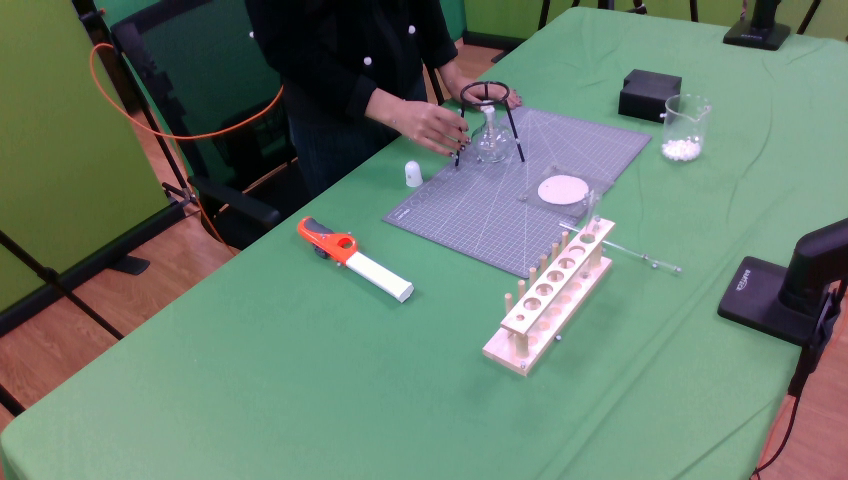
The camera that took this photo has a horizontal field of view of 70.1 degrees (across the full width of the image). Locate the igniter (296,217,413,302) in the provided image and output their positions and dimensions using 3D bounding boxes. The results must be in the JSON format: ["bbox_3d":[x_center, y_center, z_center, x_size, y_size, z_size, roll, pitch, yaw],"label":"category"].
[{"bbox_3d":[-0.121,0.025,0.970,0.274,0.025,0.057,29,63,37],"label":"igniter"}]

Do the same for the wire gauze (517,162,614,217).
[{"bbox_3d":[0.245,-0.088,1.046,0.120,0.011,0.125,25,50,32],"label":"wire gauze"}]

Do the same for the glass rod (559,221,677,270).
[{"bbox_3d":[0.292,0.007,0.927,0.198,0.008,0.008,26,52,36],"label":"glass rod"}]

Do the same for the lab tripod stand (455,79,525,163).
[{"bbox_3d":[0.121,-0.220,1.126,0.148,0.132,0.147,-4,40,4],"label":"lab tripod stand"}]

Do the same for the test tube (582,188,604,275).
[{"bbox_3d":[0.229,-0.007,0.821,0.017,0.151,0.017,-3,42,3],"label":"test tube"}]

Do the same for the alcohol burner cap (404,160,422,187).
[{"bbox_3d":[-0.022,-0.125,1.118,0.034,0.048,0.033,-4,40,4],"label":"alcohol burner cap"}]

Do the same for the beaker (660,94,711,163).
[{"bbox_3d":[0.457,-0.192,1.063,0.074,0.101,0.083,-7,41,4],"label":"beaker"}]

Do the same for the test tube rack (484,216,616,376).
[{"bbox_3d":[0.174,0.064,0.823,0.066,0.085,0.243,23,49,33],"label":"test tube rack"}]

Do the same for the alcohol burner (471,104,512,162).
[{"bbox_3d":[0.125,-0.207,1.126,0.078,0.119,0.077,-5,43,5],"label":"alcohol burner"}]
